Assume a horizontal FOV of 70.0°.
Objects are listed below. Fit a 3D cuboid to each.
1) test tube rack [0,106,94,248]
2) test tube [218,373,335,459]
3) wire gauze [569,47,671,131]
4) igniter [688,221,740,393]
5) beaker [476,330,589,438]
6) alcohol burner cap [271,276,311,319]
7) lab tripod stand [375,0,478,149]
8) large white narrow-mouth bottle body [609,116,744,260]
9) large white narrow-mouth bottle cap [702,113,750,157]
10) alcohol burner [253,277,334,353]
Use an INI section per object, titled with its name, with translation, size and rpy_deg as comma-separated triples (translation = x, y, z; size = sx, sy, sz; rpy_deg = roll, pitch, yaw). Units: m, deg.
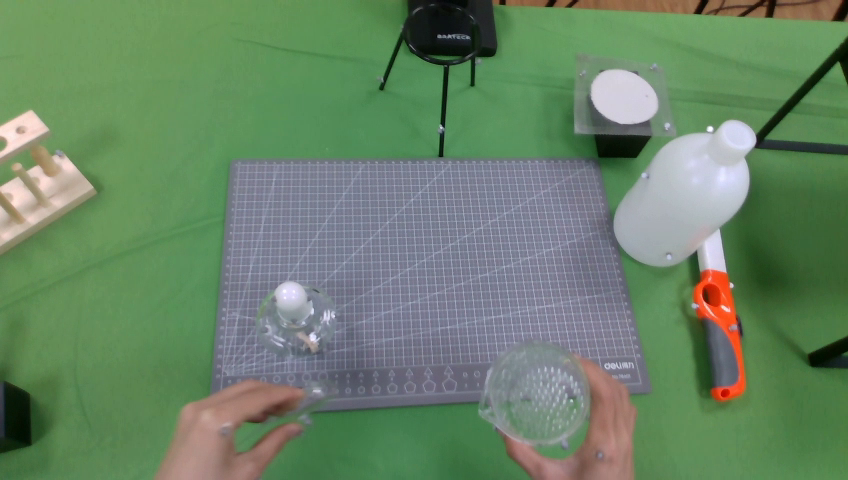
[test tube rack]
translation = -0.473, -0.025, 0.603
size = 0.242, 0.086, 0.066
rpy_deg = -41, 74, -22
[test tube]
translation = -0.120, 0.142, 0.477
size = 0.017, 0.150, 0.017
rpy_deg = 34, 36, -28
[wire gauze]
translation = 0.240, -0.186, 0.752
size = 0.121, 0.011, 0.124
rpy_deg = 6, 63, -4
[igniter]
translation = 0.326, 0.040, 0.695
size = 0.057, 0.025, 0.274
rpy_deg = 12, 63, -15
[beaker]
translation = 0.088, 0.119, 0.476
size = 0.084, 0.101, 0.073
rpy_deg = -23, 66, 8
[alcohol burner cap]
translation = -0.122, 0.051, 0.548
size = 0.034, 0.048, 0.033
rpy_deg = 1, 69, -2
[lab tripod stand]
translation = 0.012, -0.204, 0.720
size = 0.149, 0.132, 0.147
rpy_deg = 3, 65, -7
[large white narrow-mouth bottle body]
translation = 0.276, -0.060, 0.645
size = 0.102, 0.196, 0.101
rpy_deg = 2, 63, -4
[large white narrow-mouth bottle cap]
translation = 0.283, -0.099, 0.569
size = 0.038, 0.024, 0.037
rpy_deg = 2, 64, -5
[alcohol burner]
translation = -0.126, 0.065, 0.581
size = 0.078, 0.120, 0.077
rpy_deg = 4, 62, -6
